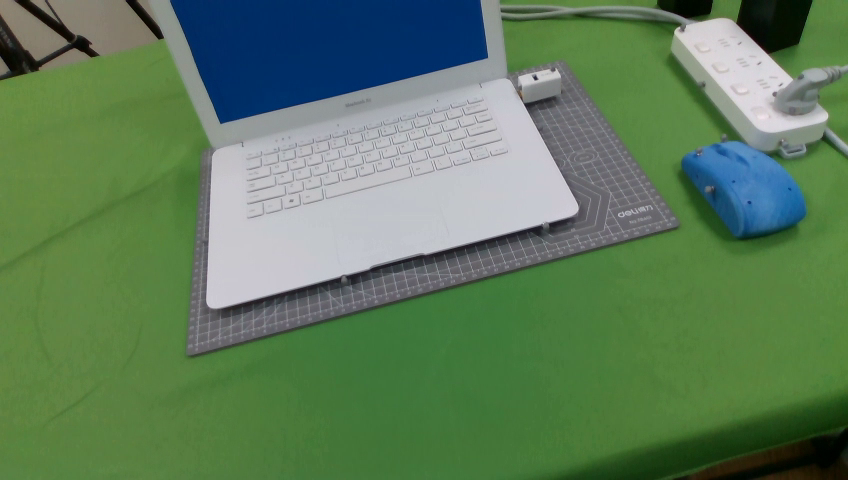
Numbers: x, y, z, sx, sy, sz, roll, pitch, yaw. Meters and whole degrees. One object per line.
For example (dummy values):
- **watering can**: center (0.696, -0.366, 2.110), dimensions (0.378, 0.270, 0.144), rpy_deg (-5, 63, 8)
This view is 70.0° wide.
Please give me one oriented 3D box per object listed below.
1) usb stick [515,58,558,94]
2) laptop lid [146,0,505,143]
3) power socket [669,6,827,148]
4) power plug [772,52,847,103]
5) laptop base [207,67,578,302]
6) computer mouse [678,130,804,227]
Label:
- **usb stick**: center (0.119, -0.182, 0.676), dimensions (0.059, 0.027, 0.021), rpy_deg (-16, 47, 2)
- **laptop lid**: center (-0.097, -0.245, 0.636), dimensions (0.357, 0.244, 0.013), rpy_deg (-16, 36, -1)
- **power socket**: center (0.333, -0.181, 0.639), dimensions (0.072, 0.033, 0.224), rpy_deg (-12, 48, 1)
- **power plug**: center (0.370, -0.146, 0.573), dimensions (0.072, 0.053, 0.035), rpy_deg (-4, 51, 8)
- **laptop base**: center (-0.049, -0.068, 0.628), dimensions (0.354, 0.023, 0.233), rpy_deg (-15, 51, -2)
- **computer mouse**: center (0.281, -0.063, 0.543), dimensions (0.063, 0.041, 0.116), rpy_deg (-16, 43, 1)
